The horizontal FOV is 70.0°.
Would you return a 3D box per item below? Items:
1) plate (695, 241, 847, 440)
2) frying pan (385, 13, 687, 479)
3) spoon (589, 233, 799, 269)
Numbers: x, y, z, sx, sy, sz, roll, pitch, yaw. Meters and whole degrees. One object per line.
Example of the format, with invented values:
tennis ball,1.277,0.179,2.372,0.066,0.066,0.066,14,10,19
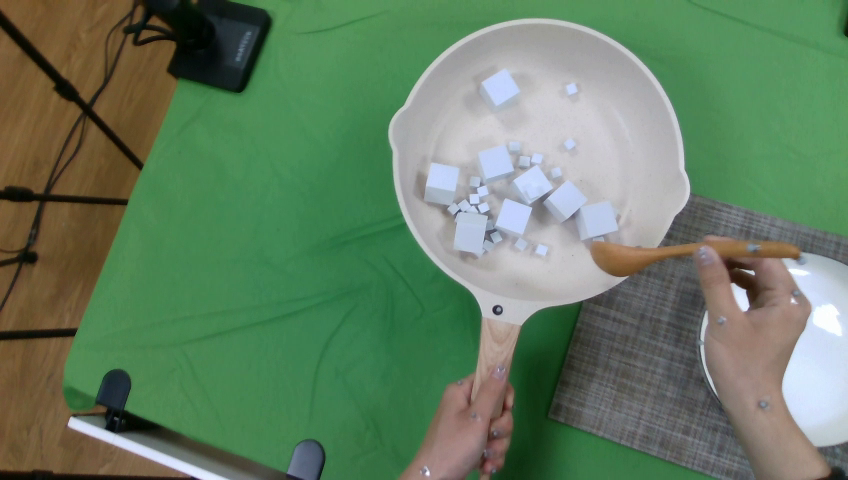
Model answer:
plate,0.399,0.106,0.653,0.207,0.039,0.207,-2,80,9
frying pan,0.087,0.015,0.611,0.307,0.103,0.486,14,78,1
spoon,0.204,0.005,0.489,0.021,0.193,0.042,-42,107,-27
